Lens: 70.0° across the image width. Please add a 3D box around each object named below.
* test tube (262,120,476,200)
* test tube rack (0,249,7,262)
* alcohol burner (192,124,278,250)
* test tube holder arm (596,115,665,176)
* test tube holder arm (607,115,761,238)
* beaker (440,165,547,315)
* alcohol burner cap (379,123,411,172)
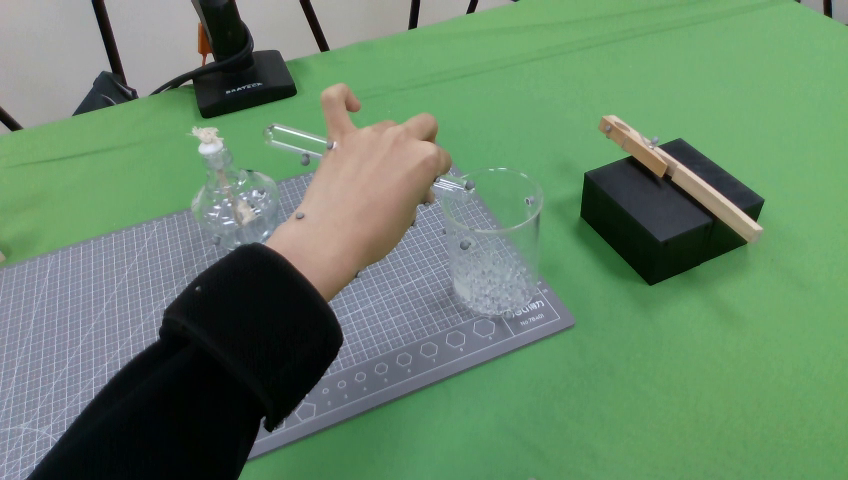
[{"bbox_3d":[-0.035,-0.054,0.415,0.151,0.017,0.017,15,42,-14],"label":"test tube"},{"bbox_3d":[-0.515,0.039,0.518,0.066,0.086,0.242,31,55,33],"label":"test tube rack"},{"bbox_3d":[-0.174,-0.049,0.541,0.078,0.120,0.077,-5,43,5],"label":"alcohol burner"},{"bbox_3d":[0.183,-0.084,0.532,0.010,0.015,0.087,-16,44,-21],"label":"test tube holder arm"},{"bbox_3d":[0.207,-0.059,0.504,0.013,0.015,0.176,-16,44,-22],"label":"test tube holder arm"},{"bbox_3d":[0.051,0.003,0.468,0.083,0.101,0.074,26,53,31],"label":"beaker"},{"bbox_3d":[-0.032,-0.098,0.624,0.034,0.048,0.033,-4,44,4],"label":"alcohol burner cap"}]
